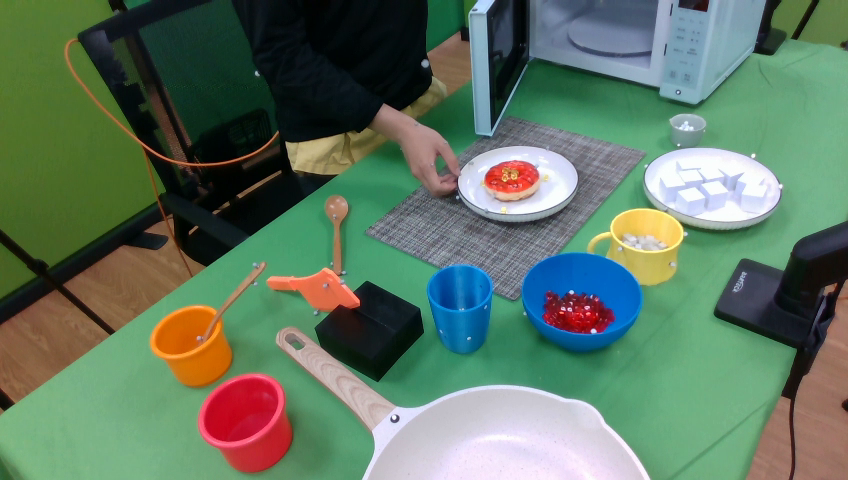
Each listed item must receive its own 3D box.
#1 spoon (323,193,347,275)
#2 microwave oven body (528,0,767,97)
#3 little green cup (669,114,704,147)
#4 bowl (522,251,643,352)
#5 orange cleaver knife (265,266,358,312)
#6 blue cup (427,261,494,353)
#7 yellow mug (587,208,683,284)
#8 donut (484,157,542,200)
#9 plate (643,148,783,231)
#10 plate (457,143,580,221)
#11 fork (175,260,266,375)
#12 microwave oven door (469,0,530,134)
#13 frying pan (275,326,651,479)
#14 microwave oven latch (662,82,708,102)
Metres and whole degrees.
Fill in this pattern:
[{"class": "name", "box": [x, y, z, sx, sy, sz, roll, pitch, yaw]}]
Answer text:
[{"class": "spoon", "box": [-0.148, -0.014, 1.008, 0.042, 0.022, 0.192, 1, 40, -9]}, {"class": "microwave oven body", "box": [0.473, -0.516, 1.313, 0.438, 0.261, 0.327, 26, 51, 34]}, {"class": "little green cup", "box": [0.485, -0.203, 1.123, 0.061, 0.039, 0.061, -5, 40, 5]}, {"class": "bowl", "box": [0.204, 0.093, 0.792, 0.151, 0.077, 0.150, -4, 40, 4]}, {"class": "orange cleaver knife", "box": [-0.164, 0.073, 0.864, 0.210, 0.077, 0.012, -6, 30, 50]}, {"class": "blue cup", "box": [0.050, 0.095, 0.792, 0.092, 0.100, 0.092, -3, 42, 3]}, {"class": "yellow mug", "box": [0.305, 0.009, 0.884, 0.131, 0.064, 0.099, -4, 41, 5]}, {"class": "donut", "box": [0.153, -0.107, 1.039, 0.099, 0.048, 0.098, -5, 37, 5]}, {"class": "plate", "box": [0.465, -0.080, 0.986, 0.207, 0.039, 0.206, -4, 41, 4]}, {"class": "plate", "box": [0.162, -0.097, 1.042, 0.209, 0.038, 0.208, -4, 40, 4]}, {"class": "fork", "box": [-0.268, 0.102, 0.792, 0.207, 0.019, 0.028, -51, 41, 16]}, {"class": "microwave oven door", "box": [0.161, -0.413, 1.231, 0.039, 0.245, 0.355, 9, 43, 18]}, {"class": "frying pan", "box": [0.004, 0.229, 0.641, 0.484, 0.103, 0.308, 34, 54, 28]}, {"class": "microwave oven latch", "box": [0.517, -0.298, 1.202, 0.078, 0.029, 0.030, 27, 52, 34]}]
